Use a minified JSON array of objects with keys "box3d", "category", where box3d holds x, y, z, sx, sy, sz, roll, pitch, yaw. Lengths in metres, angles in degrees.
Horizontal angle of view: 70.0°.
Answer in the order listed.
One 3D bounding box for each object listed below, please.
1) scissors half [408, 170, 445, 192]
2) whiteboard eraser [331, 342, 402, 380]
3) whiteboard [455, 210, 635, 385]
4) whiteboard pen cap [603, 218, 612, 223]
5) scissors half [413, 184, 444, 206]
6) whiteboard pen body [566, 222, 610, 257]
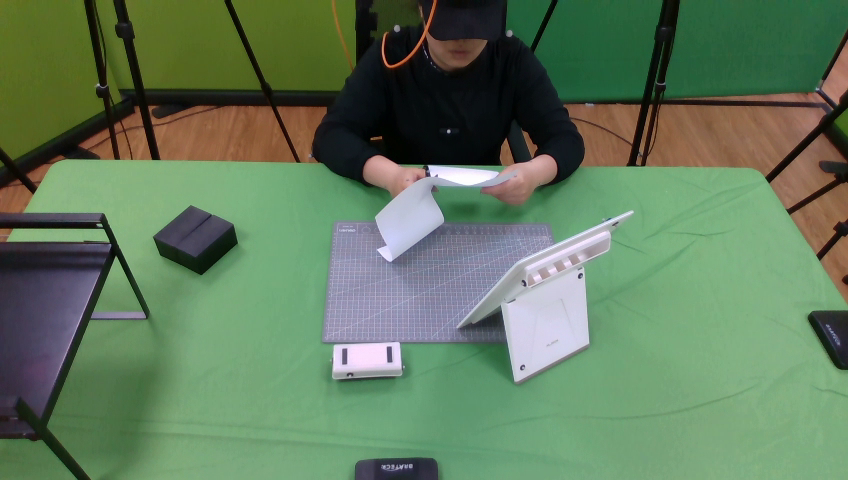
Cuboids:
[{"box3d":[0.005,-0.107,1.145,0.013,0.040,0.174,-23,21,-16],"category":"scissors half"},{"box3d":[-0.094,0.198,0.986,0.113,0.042,0.055,-2,44,-6],"category":"whiteboard eraser"},{"box3d":[0.211,0.111,0.955,0.217,0.306,0.143,-21,71,-23],"category":"whiteboard"},{"box3d":[0.379,-0.031,1.255,0.033,0.018,0.018,-33,57,-29],"category":"whiteboard pen cap"},{"box3d":[0.012,-0.089,1.150,0.013,0.175,0.040,-29,94,-15],"category":"scissors half"},{"box3d":[0.335,-0.004,1.228,0.141,0.017,0.017,-33,56,-29],"category":"whiteboard pen body"}]
